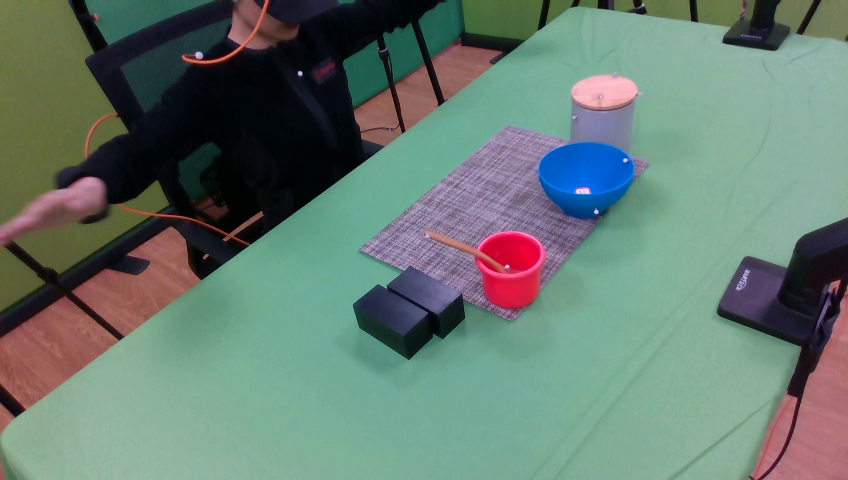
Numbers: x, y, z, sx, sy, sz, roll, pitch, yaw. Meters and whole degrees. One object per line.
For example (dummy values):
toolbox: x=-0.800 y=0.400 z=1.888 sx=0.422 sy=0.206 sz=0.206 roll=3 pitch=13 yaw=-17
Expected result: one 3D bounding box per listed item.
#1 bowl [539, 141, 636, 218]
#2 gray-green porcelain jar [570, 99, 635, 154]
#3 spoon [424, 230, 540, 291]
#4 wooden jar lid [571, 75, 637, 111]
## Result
bowl: x=0.264 y=-0.089 z=0.989 sx=0.151 sy=0.077 sz=0.150 roll=-5 pitch=40 yaw=5
gray-green porcelain jar: x=0.313 y=-0.197 z=1.069 sx=0.106 sy=0.127 sz=0.105 roll=-5 pitch=40 yaw=5
spoon: x=0.083 y=0.026 z=0.836 sx=0.195 sy=0.021 sz=0.041 roll=29 pitch=31 yaw=-24
wooden jar lid: x=0.305 y=-0.246 z=1.027 sx=0.108 sy=0.021 sz=0.108 roll=-5 pitch=41 yaw=5
